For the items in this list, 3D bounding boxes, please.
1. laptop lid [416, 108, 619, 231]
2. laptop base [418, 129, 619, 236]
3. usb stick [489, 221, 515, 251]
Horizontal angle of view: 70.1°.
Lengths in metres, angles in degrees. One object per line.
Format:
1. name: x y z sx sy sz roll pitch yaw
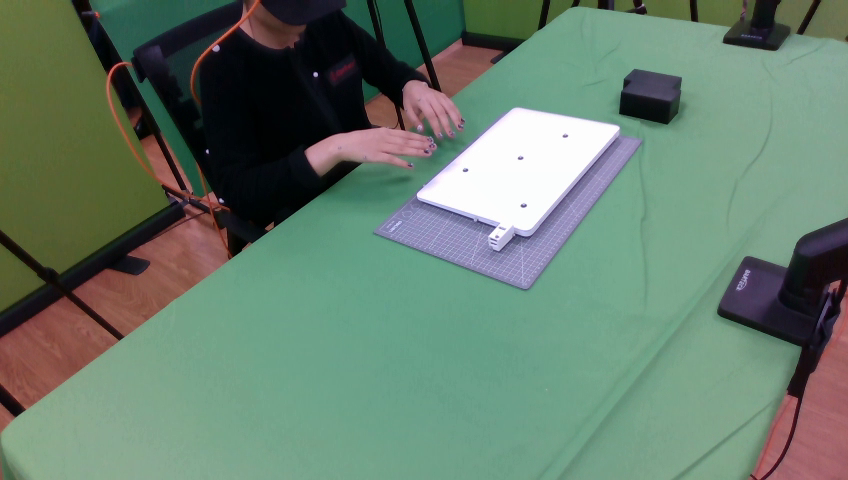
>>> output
1. laptop lid: 0.176 -0.147 1.106 0.239 0.013 0.357 21 48 34
2. laptop base: 0.180 -0.137 1.112 0.233 0.023 0.355 19 47 33
3. usb stick: 0.127 -0.011 0.954 0.021 0.027 0.059 22 47 34
